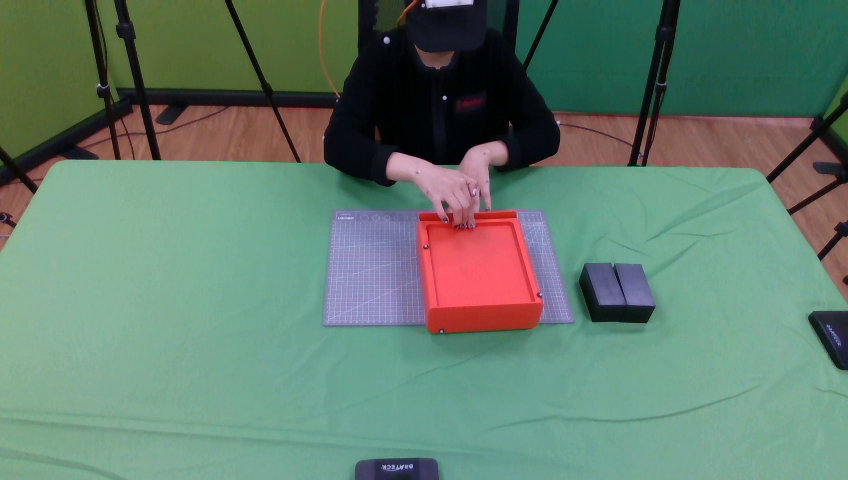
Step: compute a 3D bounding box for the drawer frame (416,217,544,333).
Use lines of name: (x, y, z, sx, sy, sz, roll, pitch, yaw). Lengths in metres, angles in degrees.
drawer frame: (0.094, 0.058, 1.104, 0.202, 0.083, 0.212, -2, 47, -7)

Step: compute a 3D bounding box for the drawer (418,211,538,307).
drawer: (0.092, 0.043, 1.120, 0.195, 0.073, 0.210, -1, 47, -6)

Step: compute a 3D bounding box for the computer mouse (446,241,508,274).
computer mouse: (0.101, 0.032, 1.149, 0.117, 0.041, 0.062, 1, 43, -7)
